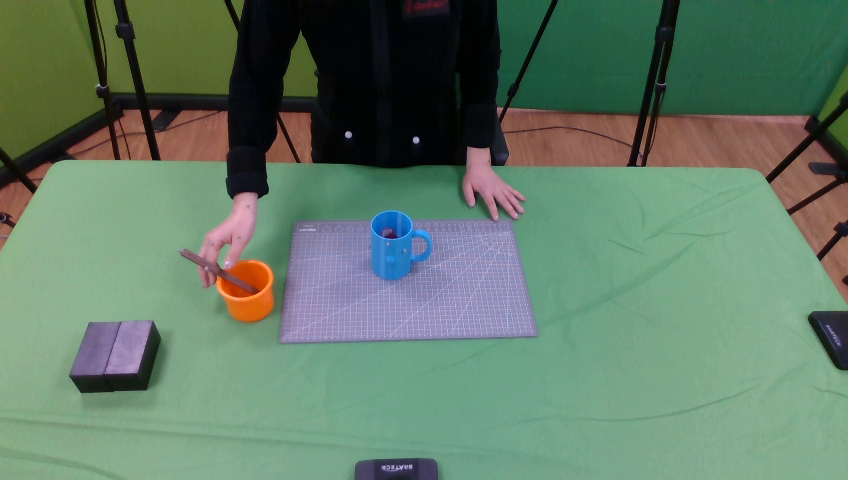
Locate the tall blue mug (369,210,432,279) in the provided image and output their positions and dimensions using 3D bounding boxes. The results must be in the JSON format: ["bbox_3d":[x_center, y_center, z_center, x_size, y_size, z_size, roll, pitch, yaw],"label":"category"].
[{"bbox_3d":[-0.049,0.005,1.125,0.107,0.108,0.077,-19,50,-21],"label":"tall blue mug"}]

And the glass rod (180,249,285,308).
[{"bbox_3d":[-0.322,0.068,1.028,0.200,0.008,0.008,34,40,-25],"label":"glass rod"}]
